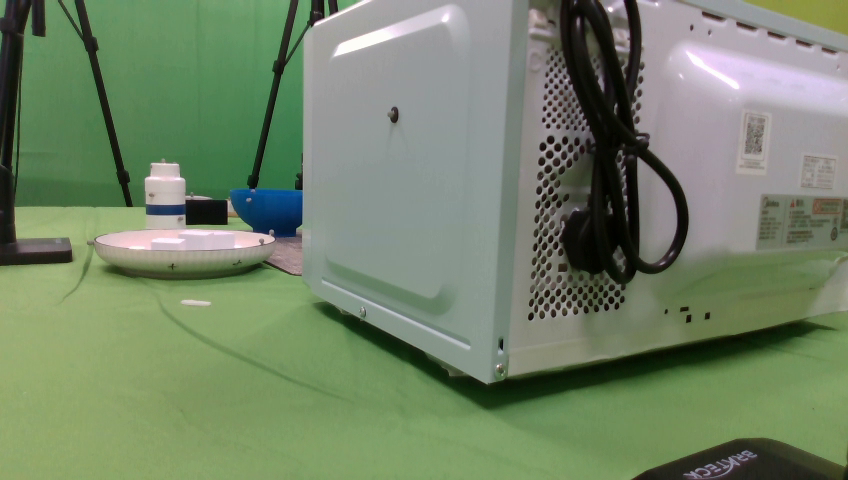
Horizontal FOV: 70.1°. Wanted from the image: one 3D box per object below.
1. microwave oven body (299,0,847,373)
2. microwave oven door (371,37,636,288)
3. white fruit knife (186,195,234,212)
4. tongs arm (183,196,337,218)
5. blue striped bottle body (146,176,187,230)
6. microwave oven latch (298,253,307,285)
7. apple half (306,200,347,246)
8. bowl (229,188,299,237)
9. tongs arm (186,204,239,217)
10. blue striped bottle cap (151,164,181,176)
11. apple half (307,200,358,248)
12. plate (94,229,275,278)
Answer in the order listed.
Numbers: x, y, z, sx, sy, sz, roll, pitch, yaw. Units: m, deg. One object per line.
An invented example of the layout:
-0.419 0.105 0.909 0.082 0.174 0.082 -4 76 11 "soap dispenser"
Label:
0.152 -0.055 0.543 0.444 0.260 0.324 -2 8 -33 "microwave oven body"
0.109 -0.080 0.686 0.358 0.243 0.039 -2 9 -33 "microwave oven door"
-0.401 -0.071 1.275 0.208 0.027 0.016 10 1 -35 "white fruit knife"
-0.404 -0.081 1.479 0.385 0.026 0.050 3 8 -2 "tongs arm"
-0.430 -0.065 1.010 0.063 0.120 0.063 2 7 0 "blue striped bottle body"
-0.081 0.027 0.582 0.079 0.029 0.030 -2 8 -33 "microwave oven latch"
-0.162 -0.029 0.965 0.032 0.081 0.082 13 13 43 "apple half"
-0.265 -0.048 1.066 0.151 0.077 0.151 3 8 0 "bowl"
-0.396 -0.067 1.399 0.389 0.028 0.028 1 5 -15 "tongs arm"
-0.428 -0.116 1.002 0.044 0.020 0.044 1 6 0 "blue striped bottle cap"
-0.135 -0.023 0.939 0.053 0.074 0.081 16 12 43 "apple half"
-0.291 0.016 0.750 0.208 0.039 0.207 2 7 0 "plate"
